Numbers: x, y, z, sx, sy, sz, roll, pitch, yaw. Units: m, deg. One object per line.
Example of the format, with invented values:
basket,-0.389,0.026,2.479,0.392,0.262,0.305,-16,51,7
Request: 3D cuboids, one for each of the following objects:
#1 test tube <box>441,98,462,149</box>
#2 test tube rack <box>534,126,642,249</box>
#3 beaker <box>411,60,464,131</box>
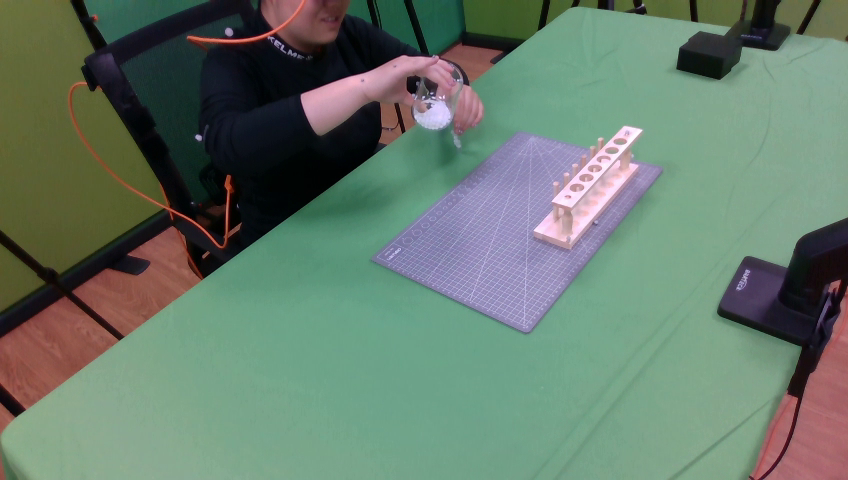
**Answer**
test tube,0.052,-0.211,1.114,0.017,0.151,0.017,-5,65,11
test tube rack,0.271,-0.095,0.990,0.066,0.085,0.243,23,49,33
beaker,0.021,-0.232,0.991,0.074,0.084,0.100,2,49,15
